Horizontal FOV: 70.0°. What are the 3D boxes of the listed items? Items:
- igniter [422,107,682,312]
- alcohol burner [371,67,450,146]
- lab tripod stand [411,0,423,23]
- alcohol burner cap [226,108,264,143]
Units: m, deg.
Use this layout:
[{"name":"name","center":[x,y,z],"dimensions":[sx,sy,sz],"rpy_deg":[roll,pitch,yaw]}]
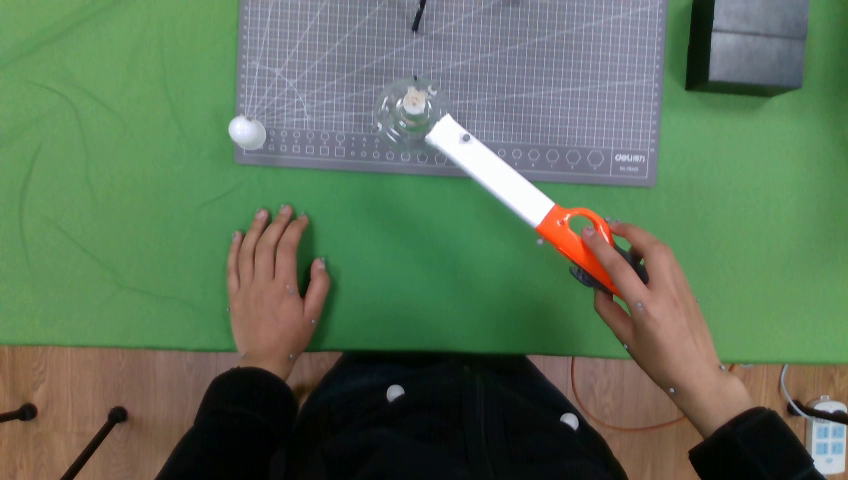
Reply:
[{"name":"igniter","center":[0.117,-0.023,0.545],"dimensions":[0.277,0.025,0.057],"rpy_deg":[38,88,-3]},{"name":"alcohol burner","center":[-0.013,-0.131,0.583],"dimensions":[0.078,0.119,0.078],"rpy_deg":[0,93,-2]},{"name":"lab tripod stand","center":[0.036,-0.282,0.568],"dimensions":[0.148,0.131,0.148],"rpy_deg":[0,92,-2]},{"name":"alcohol burner cap","center":[-0.182,-0.117,0.607],"dimensions":[0.034,0.048,0.034],"rpy_deg":[0,91,-5]}]
